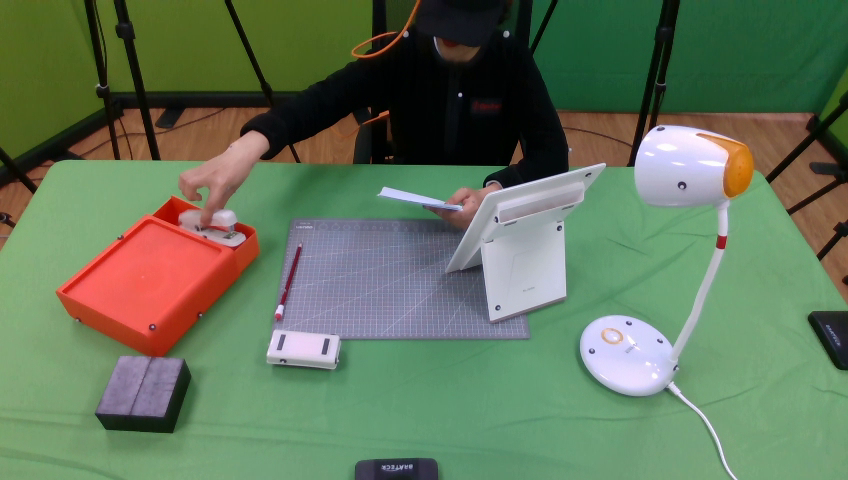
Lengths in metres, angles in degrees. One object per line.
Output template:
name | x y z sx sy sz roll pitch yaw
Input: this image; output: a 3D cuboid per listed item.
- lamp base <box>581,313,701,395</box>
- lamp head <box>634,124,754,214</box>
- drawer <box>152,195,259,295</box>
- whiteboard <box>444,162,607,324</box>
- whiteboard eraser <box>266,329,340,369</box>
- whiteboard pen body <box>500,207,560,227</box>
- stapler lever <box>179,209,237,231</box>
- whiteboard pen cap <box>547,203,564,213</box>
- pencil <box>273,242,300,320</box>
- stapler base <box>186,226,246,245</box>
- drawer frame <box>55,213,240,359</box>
lamp base | 0.361 0.144 0.973 0.178 0.181 0.160 34 53 23
lamp head | 0.351 -0.089 0.776 0.112 0.113 0.122 -30 30 -28
drawer | -0.441 0.033 1.093 0.194 0.073 0.211 21 49 14
whiteboard | 0.186 0.025 1.029 0.217 0.306 0.143 -15 68 -18
whiteboard eraser | -0.198 0.181 0.994 0.113 0.042 0.055 5 45 1
whiteboard pen body | 0.222 -0.051 1.259 0.141 0.017 0.017 -15 49 -16
stapler lever | -0.391 -0.040 1.095 0.118 0.040 0.027 7 27 20
whiteboard pen cap | 0.277 -0.066 1.275 0.033 0.018 0.018 -19 50 -15
pencil | -0.249 0.071 1.115 0.012 0.012 0.193 5 43 1
stapler base | -0.388 -0.016 1.108 0.130 0.024 0.041 8 27 20
drawer frame | -0.469 0.072 1.050 0.201 0.083 0.213 21 49 14
